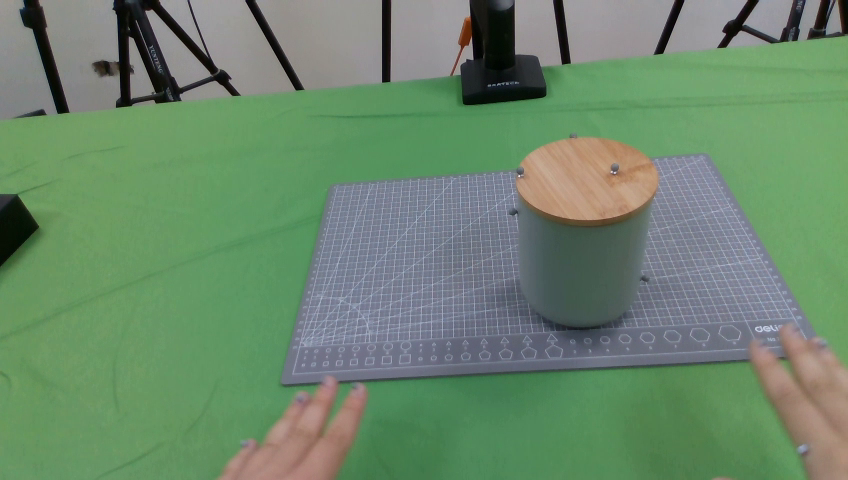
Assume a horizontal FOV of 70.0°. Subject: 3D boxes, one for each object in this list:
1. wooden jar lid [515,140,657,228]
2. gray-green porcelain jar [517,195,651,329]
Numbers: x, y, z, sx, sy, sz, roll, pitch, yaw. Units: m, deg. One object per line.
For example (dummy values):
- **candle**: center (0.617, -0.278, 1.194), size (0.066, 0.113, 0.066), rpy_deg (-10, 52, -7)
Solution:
- **wooden jar lid**: center (0.127, -0.042, 0.480), size (0.108, 0.021, 0.107), rpy_deg (-6, 41, 6)
- **gray-green porcelain jar**: center (0.134, 0.005, 0.520), size (0.106, 0.128, 0.105), rpy_deg (-5, 40, 5)
